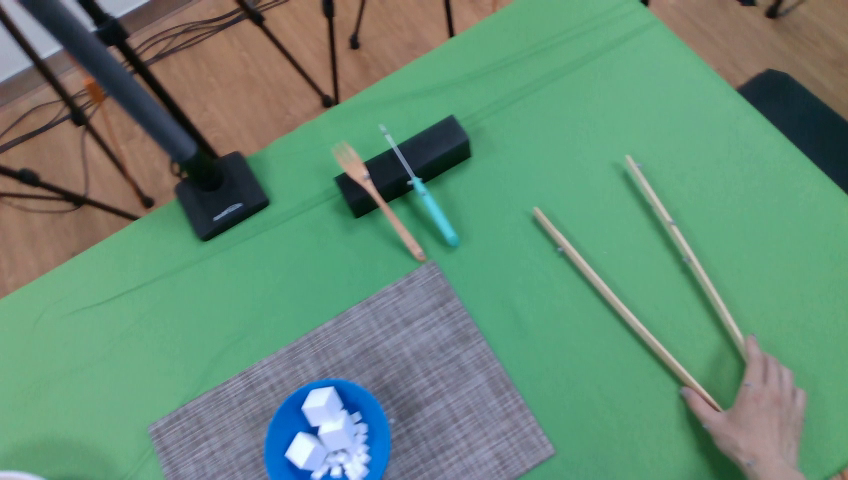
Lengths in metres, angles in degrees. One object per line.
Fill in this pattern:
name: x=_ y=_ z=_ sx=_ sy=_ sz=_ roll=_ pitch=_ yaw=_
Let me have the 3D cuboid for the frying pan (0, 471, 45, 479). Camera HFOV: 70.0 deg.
frying pan: x=-0.467 y=0.502 z=0.671 sx=0.307 sy=0.104 sz=0.482 roll=-33 pitch=58 yaw=-5

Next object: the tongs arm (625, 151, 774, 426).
tongs arm: x=0.339 y=0.048 z=0.784 sx=0.051 sy=0.027 sz=0.381 roll=-24 pitch=67 yaw=-1

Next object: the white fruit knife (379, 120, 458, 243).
white fruit knife: x=-0.011 y=-0.085 z=0.860 sx=0.016 sy=0.027 sz=0.207 roll=-32 pitch=84 yaw=0

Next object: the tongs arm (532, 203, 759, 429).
tongs arm: x=0.268 y=0.088 z=0.782 sx=0.028 sy=0.028 sz=0.384 roll=-35 pitch=67 yaw=-9

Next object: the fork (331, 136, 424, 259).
fork: x=-0.064 y=-0.058 z=0.857 sx=0.028 sy=0.018 sz=0.207 roll=-36 pitch=88 yaw=-12

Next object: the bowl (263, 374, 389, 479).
bowl: x=-0.110 y=0.246 z=0.738 sx=0.151 sy=0.077 sz=0.150 roll=-3 pitch=67 yaw=7
